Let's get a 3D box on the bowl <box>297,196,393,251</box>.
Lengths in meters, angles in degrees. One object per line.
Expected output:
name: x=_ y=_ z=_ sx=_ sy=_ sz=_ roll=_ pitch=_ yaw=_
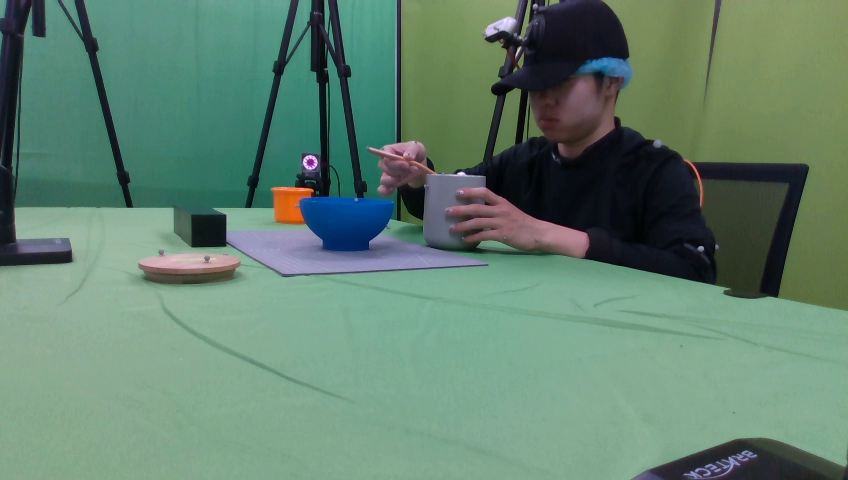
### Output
bowl: x=-0.125 y=-0.026 z=0.957 sx=0.151 sy=0.077 sz=0.151 roll=2 pitch=7 yaw=0

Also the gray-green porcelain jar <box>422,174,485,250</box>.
gray-green porcelain jar: x=0.050 y=-0.050 z=1.040 sx=0.106 sy=0.126 sz=0.106 roll=2 pitch=8 yaw=0

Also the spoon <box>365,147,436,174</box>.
spoon: x=-0.009 y=-0.123 z=1.027 sx=0.194 sy=0.021 sz=0.041 roll=24 pitch=11 yaw=-2

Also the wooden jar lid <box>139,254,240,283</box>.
wooden jar lid: x=-0.269 y=0.033 z=0.697 sx=0.108 sy=0.020 sz=0.108 roll=2 pitch=5 yaw=0
